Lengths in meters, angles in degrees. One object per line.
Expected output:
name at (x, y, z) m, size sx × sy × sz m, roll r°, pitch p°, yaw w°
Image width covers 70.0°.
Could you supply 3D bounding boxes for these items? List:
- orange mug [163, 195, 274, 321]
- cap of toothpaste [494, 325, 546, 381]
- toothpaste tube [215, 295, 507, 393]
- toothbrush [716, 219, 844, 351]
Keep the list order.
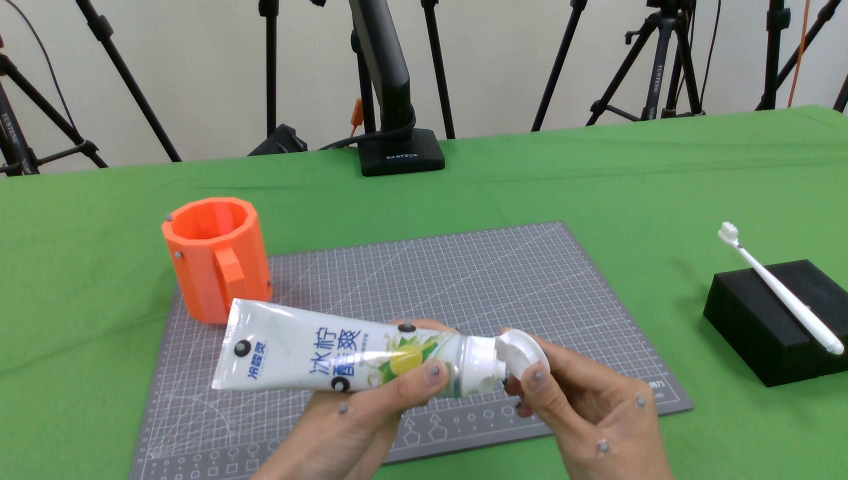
orange mug at (-0.193, 0.025, 0.590) m, size 0.083 × 0.101 × 0.125 m, roll -18°, pitch 34°, yaw -23°
cap of toothpaste at (0.053, 0.065, 0.341) m, size 0.011 × 0.038 × 0.037 m, roll -30°, pitch 44°, yaw -29°
toothpaste tube at (-0.035, 0.062, 0.346) m, size 0.165 × 0.035 × 0.054 m, roll 4°, pitch 64°, yaw 6°
toothbrush at (0.318, 0.034, 0.551) m, size 0.014 × 0.017 × 0.180 m, roll -1°, pitch 35°, yaw -8°
